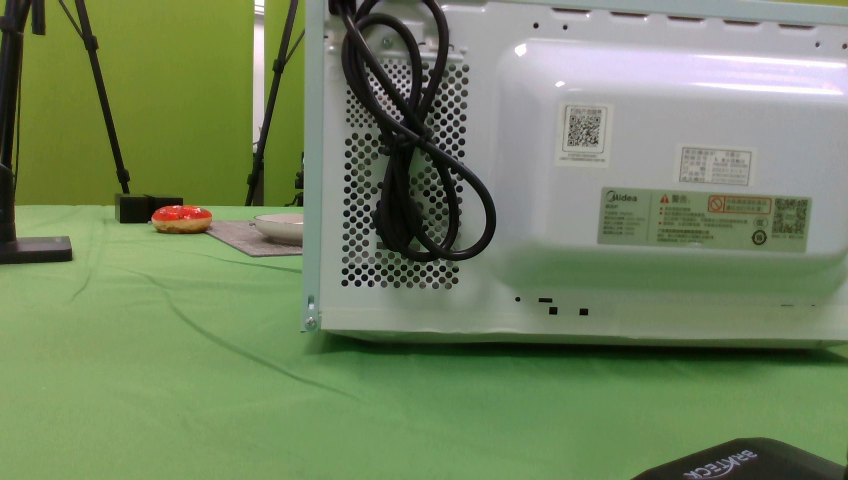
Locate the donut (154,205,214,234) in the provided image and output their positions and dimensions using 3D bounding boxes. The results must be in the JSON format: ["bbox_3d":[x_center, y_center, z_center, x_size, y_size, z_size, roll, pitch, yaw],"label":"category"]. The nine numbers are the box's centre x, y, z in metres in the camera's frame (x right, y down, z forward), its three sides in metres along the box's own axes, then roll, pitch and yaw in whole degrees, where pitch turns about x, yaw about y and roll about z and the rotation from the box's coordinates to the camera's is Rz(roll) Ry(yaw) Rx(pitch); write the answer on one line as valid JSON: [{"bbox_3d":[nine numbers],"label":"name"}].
[{"bbox_3d":[-0.425,-0.037,1.074,0.099,0.048,0.099,2,12,0],"label":"donut"}]

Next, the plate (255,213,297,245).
[{"bbox_3d":[-0.177,-0.017,1.017,0.208,0.039,0.207,3,7,0],"label":"plate"}]

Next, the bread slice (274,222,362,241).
[{"bbox_3d":[-0.181,-0.016,1.011,0.104,0.019,0.132,6,8,27],"label":"bread slice"}]

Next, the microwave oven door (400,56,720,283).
[{"bbox_3d":[0.155,-0.078,0.699,0.356,0.243,0.039,2,8,-4],"label":"microwave oven door"}]

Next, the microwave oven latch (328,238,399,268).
[{"bbox_3d":[-0.069,0.015,0.694,0.079,0.029,0.030,3,7,-3],"label":"microwave oven latch"}]

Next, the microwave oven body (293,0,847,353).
[{"bbox_3d":[0.122,-0.055,0.550,0.442,0.260,0.325,3,7,-5],"label":"microwave oven body"}]
